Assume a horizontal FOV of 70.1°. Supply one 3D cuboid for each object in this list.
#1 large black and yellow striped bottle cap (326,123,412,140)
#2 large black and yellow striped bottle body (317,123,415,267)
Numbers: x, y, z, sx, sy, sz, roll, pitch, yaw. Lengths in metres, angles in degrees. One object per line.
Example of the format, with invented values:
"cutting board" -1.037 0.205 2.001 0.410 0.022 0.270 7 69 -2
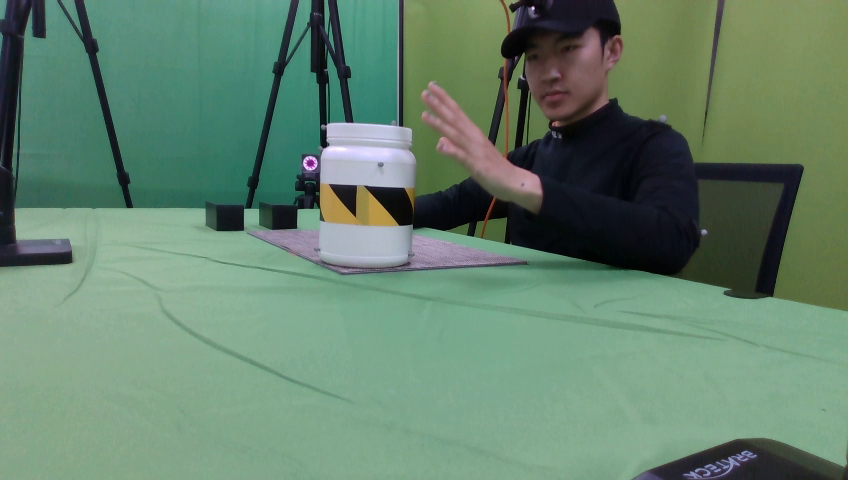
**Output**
"large black and yellow striped bottle cap" -0.074 -0.145 0.812 0.115 0.019 0.115 1 7 0
"large black and yellow striped bottle body" -0.078 -0.063 0.824 0.131 0.184 0.130 2 7 0
